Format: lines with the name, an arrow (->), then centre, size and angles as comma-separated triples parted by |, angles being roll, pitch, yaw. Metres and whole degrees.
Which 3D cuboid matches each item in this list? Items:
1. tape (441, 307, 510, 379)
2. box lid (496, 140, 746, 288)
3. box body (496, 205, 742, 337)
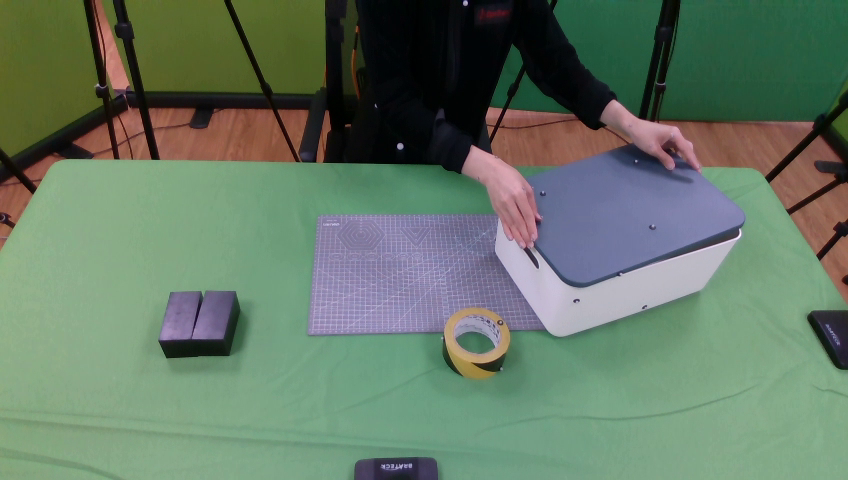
tape -> 0.087, 0.172, 1.014 | 0.117, 0.053, 0.116 | 2, 48, -2
box lid -> 0.336, -0.060, 1.054 | 0.372, 0.015, 0.261 | -18, 48, -17
box body -> 0.340, 0.003, 1.118 | 0.364, 0.161, 0.252 | -15, 49, -18
